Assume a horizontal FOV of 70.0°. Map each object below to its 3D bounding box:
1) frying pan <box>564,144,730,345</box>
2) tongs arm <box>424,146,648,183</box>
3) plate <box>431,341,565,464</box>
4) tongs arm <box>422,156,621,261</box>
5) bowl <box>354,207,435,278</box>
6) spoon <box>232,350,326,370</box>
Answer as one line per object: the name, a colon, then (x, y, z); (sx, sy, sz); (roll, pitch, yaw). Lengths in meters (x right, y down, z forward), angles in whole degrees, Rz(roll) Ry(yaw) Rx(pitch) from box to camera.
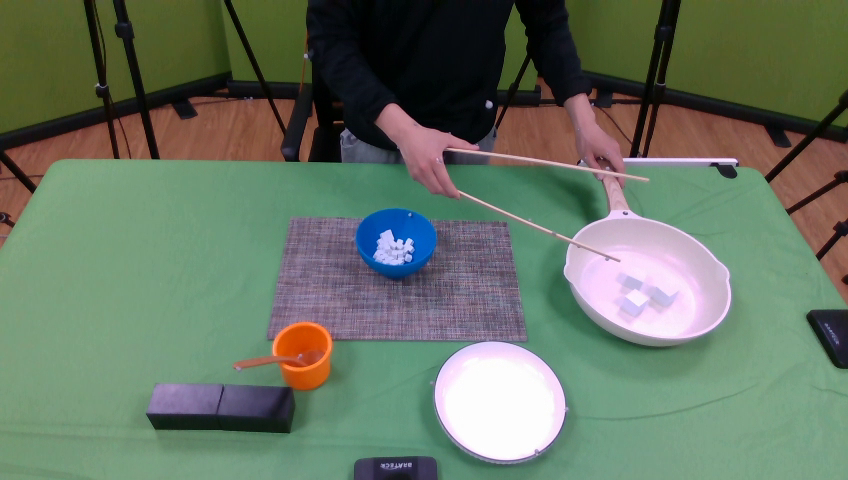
frying pan: (0.396, -0.008, 1.179); (0.307, 0.103, 0.484); (0, 55, -5)
tongs arm: (0.187, -0.129, 1.052); (0.387, 0.028, 0.028); (11, 4, 17)
plate: (0.114, 0.255, 0.952); (0.208, 0.039, 0.206); (3, 46, -2)
tongs arm: (0.163, -0.058, 1.053); (0.384, 0.051, 0.026); (22, 4, 17)
bowl: (-0.056, 0.018, 1.132); (0.151, 0.077, 0.150); (2, 46, -2)
spoon: (-0.216, 0.182, 0.920); (0.041, 0.194, 0.021); (44, 102, 27)
